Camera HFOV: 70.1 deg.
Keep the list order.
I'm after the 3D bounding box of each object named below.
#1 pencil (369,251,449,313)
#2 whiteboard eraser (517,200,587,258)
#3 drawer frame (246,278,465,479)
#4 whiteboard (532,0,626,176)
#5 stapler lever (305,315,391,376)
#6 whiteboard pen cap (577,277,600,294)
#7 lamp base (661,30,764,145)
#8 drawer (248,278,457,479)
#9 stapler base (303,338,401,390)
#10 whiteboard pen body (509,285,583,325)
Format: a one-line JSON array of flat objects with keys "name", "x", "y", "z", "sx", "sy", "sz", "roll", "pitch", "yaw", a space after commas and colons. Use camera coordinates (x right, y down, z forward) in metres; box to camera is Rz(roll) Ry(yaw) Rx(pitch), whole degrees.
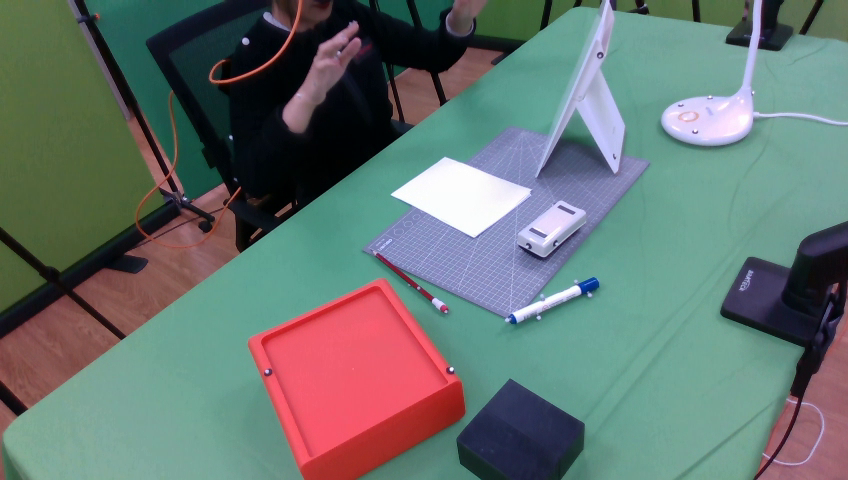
[{"name": "pencil", "x": -0.028, "y": 0.060, "z": 0.924, "sx": 0.012, "sy": 0.012, "sz": 0.192, "roll": -33, "pitch": 46, "yaw": -25}, {"name": "whiteboard eraser", "x": 0.201, "y": -0.016, "z": 0.943, "sx": 0.113, "sy": 0.042, "sz": 0.055, "roll": -37, "pitch": 46, "yaw": -29}, {"name": "drawer frame", "x": -0.088, "y": 0.168, "z": 0.752, "sx": 0.202, "sy": 0.083, "sz": 0.211, "roll": -24, "pitch": 43, "yaw": -18}, {"name": "whiteboard", "x": 0.321, "y": -0.258, "z": 1.049, "sx": 0.144, "sy": 0.306, "sz": 0.217, "roll": 21, "pitch": 45, "yaw": 5}, {"name": "stapler lever", "x": -0.100, "y": 0.136, "z": 0.790, "sx": 0.118, "sy": 0.040, "sz": 0.026, "roll": -23, "pitch": 43, "yaw": -12}, {"name": "whiteboard pen cap", "x": 0.233, "y": 0.066, "z": 0.864, "sx": 0.033, "sy": 0.018, "sz": 0.018, "roll": -20, "pitch": 41, "yaw": -17}, {"name": "lamp base", "x": 0.535, "y": -0.287, "z": 1.096, "sx": 0.179, "sy": 0.181, "sz": 0.159, "roll": -10, "pitch": 40, "yaw": -4}, {"name": "drawer", "x": -0.092, "y": 0.168, "z": 0.756, "sx": 0.195, "sy": 0.073, "sz": 0.210, "roll": -24, "pitch": 43, "yaw": -18}, {"name": "stapler base", "x": -0.096, "y": 0.160, "z": 0.813, "sx": 0.131, "sy": 0.024, "sz": 0.041, "roll": -16, "pitch": 42, "yaw": -18}, {"name": "whiteboard pen body", "x": 0.181, "y": 0.086, "z": 0.845, "sx": 0.141, "sy": 0.017, "sz": 0.017, "roll": -21, "pitch": 42, "yaw": -17}]
